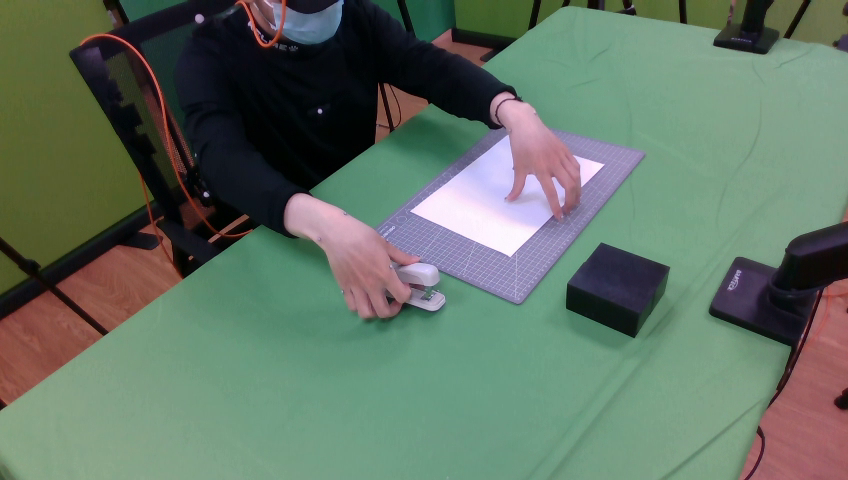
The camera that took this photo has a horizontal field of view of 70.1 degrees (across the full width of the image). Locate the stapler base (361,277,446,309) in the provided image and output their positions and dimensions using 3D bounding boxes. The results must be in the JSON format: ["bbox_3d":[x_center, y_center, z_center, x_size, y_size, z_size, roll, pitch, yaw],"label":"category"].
[{"bbox_3d":[-0.030,0.068,0.888,0.130,0.024,0.041,14,27,25],"label":"stapler base"}]

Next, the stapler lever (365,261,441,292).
[{"bbox_3d":[-0.031,0.045,0.877,0.117,0.040,0.027,14,27,25],"label":"stapler lever"}]
